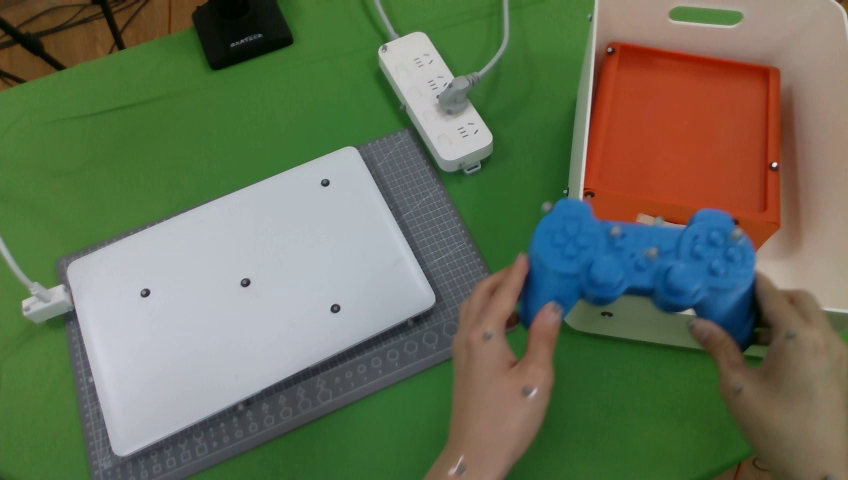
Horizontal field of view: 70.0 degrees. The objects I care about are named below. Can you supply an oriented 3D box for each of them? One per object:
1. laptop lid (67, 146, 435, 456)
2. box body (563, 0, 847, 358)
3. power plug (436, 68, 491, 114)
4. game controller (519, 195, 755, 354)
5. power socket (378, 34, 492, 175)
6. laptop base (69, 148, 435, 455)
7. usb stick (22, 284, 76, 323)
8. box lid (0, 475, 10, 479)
[{"bbox_3d":[-0.192,0.048,0.661,0.357,0.013,0.239,-24,67,-9],"label":"laptop lid"},{"bbox_3d":[0.282,-0.075,0.633,0.254,0.161,0.361,7,64,6],"label":"box body"},{"bbox_3d":[0.050,-0.175,0.743,0.072,0.053,0.035,-13,62,-6],"label":"power plug"},{"bbox_3d":[0.147,0.020,0.412,0.155,0.052,0.096,6,69,6],"label":"game controller"},{"bbox_3d":[0.011,-0.178,0.772,0.072,0.033,0.224,-24,64,-10],"label":"power socket"},{"bbox_3d":[-0.193,0.052,0.672,0.354,0.023,0.233,-25,68,-10],"label":"laptop base"},{"bbox_3d":[-0.400,0.067,0.660,0.059,0.027,0.021,-21,58,-11],"label":"usb stick"},{"bbox_3d":[-0.359,0.378,0.520,0.370,0.015,0.262,20,65,12],"label":"box lid"}]
